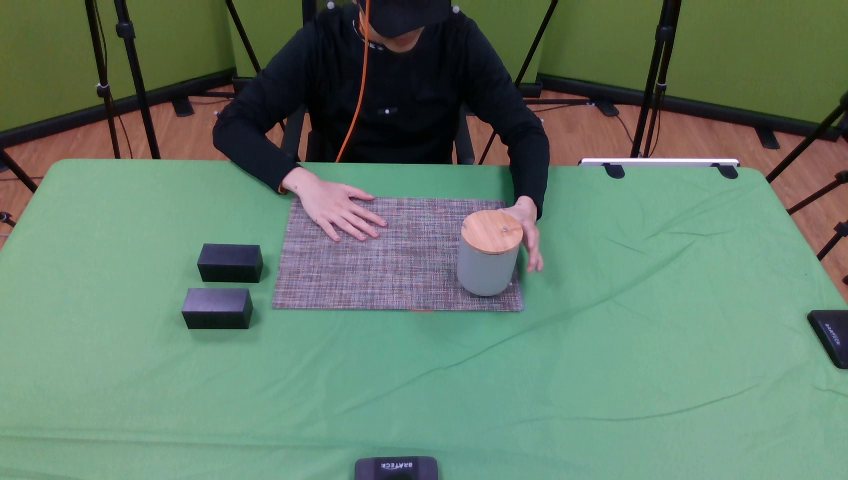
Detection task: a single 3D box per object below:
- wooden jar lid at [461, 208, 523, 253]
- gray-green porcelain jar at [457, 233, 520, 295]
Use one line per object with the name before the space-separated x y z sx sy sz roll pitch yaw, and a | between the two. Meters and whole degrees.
wooden jar lid | 0.118 -0.013 1.053 0.108 0.021 0.107 0 44 0
gray-green porcelain jar | 0.115 0.030 1.099 0.106 0.127 0.105 2 47 -2
